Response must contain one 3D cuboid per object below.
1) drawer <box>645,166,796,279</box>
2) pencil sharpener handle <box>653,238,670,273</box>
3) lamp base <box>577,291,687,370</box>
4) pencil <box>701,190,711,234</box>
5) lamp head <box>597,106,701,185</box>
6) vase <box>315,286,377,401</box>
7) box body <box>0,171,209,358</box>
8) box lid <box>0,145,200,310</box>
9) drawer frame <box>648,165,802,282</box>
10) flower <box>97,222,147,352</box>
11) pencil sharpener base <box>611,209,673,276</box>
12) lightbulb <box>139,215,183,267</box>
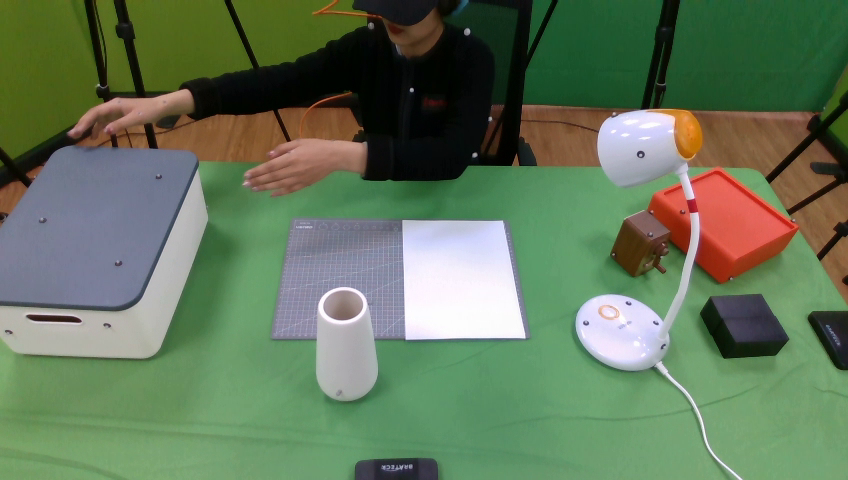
[{"bbox_3d":[0.600,-0.041,1.236,0.195,0.073,0.210,-21,51,-23],"label":"drawer"},{"bbox_3d":[0.444,0.030,1.120,0.036,0.068,0.030,-25,52,-18],"label":"pencil sharpener handle"},{"bbox_3d":[0.361,0.110,1.003,0.160,0.181,0.178,-31,57,-28],"label":"lamp base"},{"bbox_3d":[0.584,-0.059,1.256,0.012,0.012,0.193,16,34,11],"label":"pencil"},{"bbox_3d":[0.328,-0.138,0.865,0.112,0.113,0.122,-36,20,-32],"label":"lamp head"},{"bbox_3d":[-0.119,0.159,0.911,0.098,0.201,0.097,2,47,-2],"label":"vase"},{"bbox_3d":[-0.545,0.017,1.045,0.254,0.161,0.361,2,46,-2],"label":"box body"},{"bbox_3d":[-0.541,-0.037,0.993,0.263,0.015,0.369,3,45,-2],"label":"box lid"},{"bbox_3d":[0.603,-0.040,1.233,0.202,0.083,0.212,-21,51,-23],"label":"drawer frame"},{"bbox_3d":[-0.557,0.069,1.089,0.044,0.038,0.359,-24,47,-19],"label":"flower"},{"bbox_3d":[0.416,0.007,1.158,0.061,0.107,0.076,-21,51,-22],"label":"pencil sharpener base"},{"bbox_3d":[-0.496,0.003,1.131,0.059,0.060,0.107,18,64,13],"label":"lightbulb"}]
